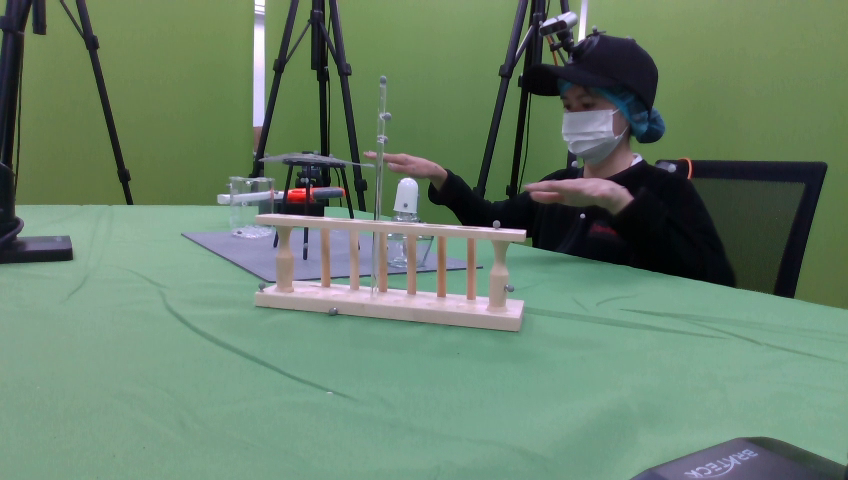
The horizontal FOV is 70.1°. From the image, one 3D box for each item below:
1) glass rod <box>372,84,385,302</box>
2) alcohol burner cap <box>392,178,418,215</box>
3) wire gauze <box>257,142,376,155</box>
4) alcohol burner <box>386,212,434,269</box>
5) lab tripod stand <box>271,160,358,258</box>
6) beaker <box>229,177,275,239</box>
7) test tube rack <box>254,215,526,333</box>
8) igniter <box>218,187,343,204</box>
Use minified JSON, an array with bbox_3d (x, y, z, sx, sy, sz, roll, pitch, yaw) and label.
[{"bbox_3d":[-0.041,-0.041,0.548,0.008,0.199,0.008,2,2,0],"label":"glass rod"},{"bbox_3d":[-0.023,-0.057,0.795,0.034,0.048,0.034,6,6,0],"label":"alcohol burner cap"},{"bbox_3d":[-0.155,-0.130,0.871,0.124,0.011,0.122,-1,7,36],"label":"wire gauze"},{"bbox_3d":[-0.025,-0.022,0.800,0.078,0.119,0.078,1,6,0],"label":"alcohol burner"},{"bbox_3d":[-0.159,-0.048,0.876,0.148,0.131,0.148,3,5,0],"label":"lab tripod stand"},{"bbox_3d":[-0.292,-0.056,1.023,0.074,0.100,0.083,-1,8,-26],"label":"beaker"},{"bbox_3d":[-0.030,0.025,0.557,0.242,0.085,0.067,4,7,12],"label":"test tube rack"},{"bbox_3d":[-0.287,-0.093,1.257,0.278,0.025,0.057,-8,12,-41],"label":"igniter"}]
